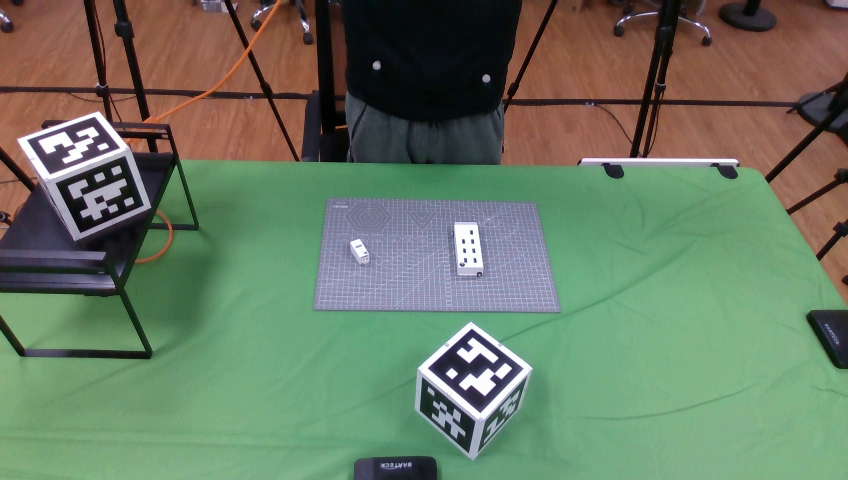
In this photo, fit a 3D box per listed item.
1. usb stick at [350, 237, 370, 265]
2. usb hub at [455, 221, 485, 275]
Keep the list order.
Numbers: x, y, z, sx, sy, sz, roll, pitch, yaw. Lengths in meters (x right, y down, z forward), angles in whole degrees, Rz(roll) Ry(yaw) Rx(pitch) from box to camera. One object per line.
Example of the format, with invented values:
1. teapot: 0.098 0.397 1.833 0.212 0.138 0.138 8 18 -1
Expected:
1. usb stick: -0.120 0.025 1.149 0.021 0.027 0.059 -30 51 6
2. usb hub: 0.088 0.014 1.177 0.049 0.025 0.124 0 46 -3
